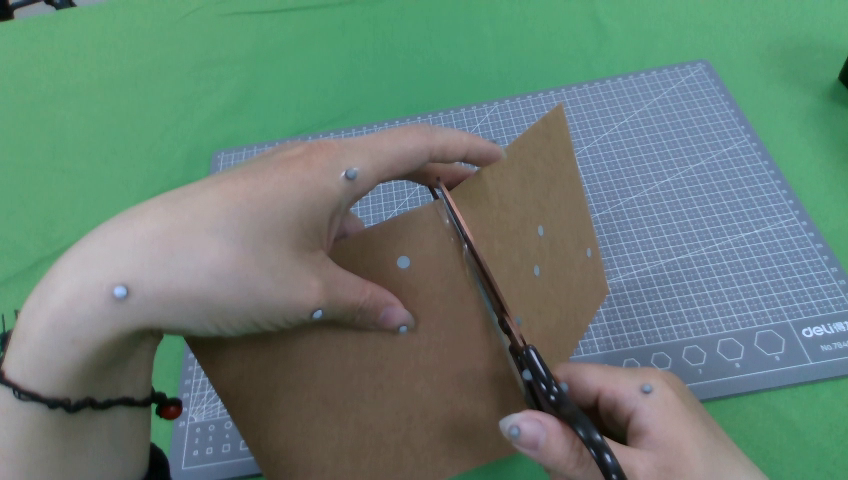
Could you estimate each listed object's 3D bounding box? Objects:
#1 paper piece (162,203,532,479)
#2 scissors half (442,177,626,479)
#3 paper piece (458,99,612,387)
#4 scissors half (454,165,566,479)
[{"bbox_3d":[-0.030,0.068,0.294,0.138,0.136,0.008,-23,14,-1],"label":"paper piece"},{"bbox_3d":[0.046,0.046,0.265,0.013,0.040,0.174,-20,72,-19],"label":"scissors half"},{"bbox_3d":[0.072,0.006,0.338,0.004,0.136,0.135,-4,26,37],"label":"paper piece"},{"bbox_3d":[0.040,0.049,0.287,0.013,0.176,0.040,-20,13,-14],"label":"scissors half"}]
